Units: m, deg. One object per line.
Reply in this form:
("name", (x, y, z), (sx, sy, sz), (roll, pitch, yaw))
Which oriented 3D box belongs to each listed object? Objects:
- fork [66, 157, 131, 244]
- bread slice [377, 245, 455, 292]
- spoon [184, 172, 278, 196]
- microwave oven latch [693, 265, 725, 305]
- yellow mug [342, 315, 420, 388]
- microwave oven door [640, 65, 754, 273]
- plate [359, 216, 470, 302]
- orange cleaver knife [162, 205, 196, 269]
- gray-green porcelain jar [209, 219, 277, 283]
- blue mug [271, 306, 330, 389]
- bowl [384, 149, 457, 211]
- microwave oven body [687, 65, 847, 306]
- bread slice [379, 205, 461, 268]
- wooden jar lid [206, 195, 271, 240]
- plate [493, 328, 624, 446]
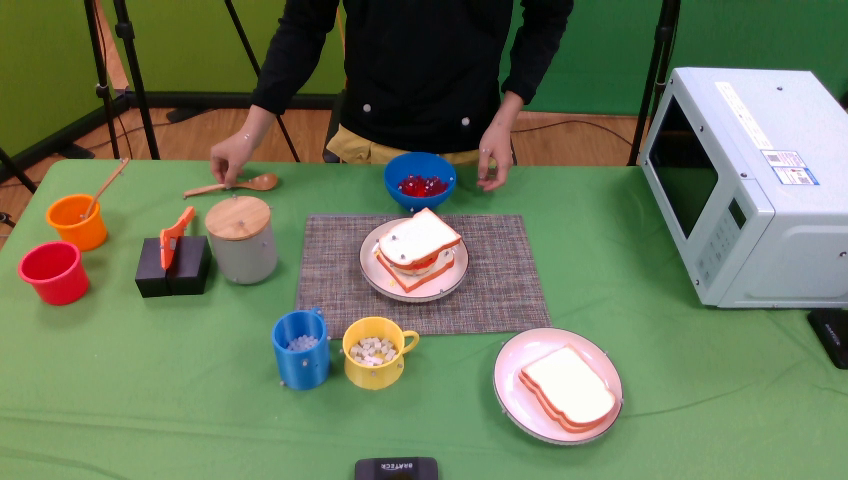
("fork", (-0.608, -0.074, 1.132), (0.207, 0.019, 0.028), (-52, 48, 10))
("bread slice", (-0.009, 0.033, 1.149), (0.131, 0.019, 0.104), (-28, 55, -24))
("spoon", (-0.405, -0.116, 1.274), (0.194, 0.022, 0.041), (-8, 65, -11))
("microwave oven latch", (0.523, 0.082, 1.116), (0.030, 0.029, 0.078), (2, 46, -1))
("yellow mug", (-0.068, 0.177, 0.990), (0.131, 0.064, 0.099), (-16, 50, -19))
("microwave oven door", (0.523, -0.147, 1.193), (0.039, 0.245, 0.353), (0, 47, -3))
("plate", (-0.019, 0.038, 1.140), (0.209, 0.038, 0.208), (2, 46, -2))
("orange cleaver knife", (-0.454, -0.010, 1.129), (0.012, 0.077, 0.210), (-2, 20, -5))
("gray-green porcelain jar", (-0.323, 0.007, 1.092), (0.106, 0.127, 0.105), (2, 46, -2))
("blue mug", (-0.188, 0.163, 0.969), (0.082, 0.106, 0.116), (15, 47, 10))
("bowl", (-0.009, -0.112, 1.262), (0.151, 0.077, 0.150), (2, 46, -2))
("microwave oven body", (0.669, -0.111, 1.176), (0.326, 0.261, 0.439), (0, 46, -3))
("bread slice", (-0.013, -0.002, 1.097), (0.134, 0.018, 0.106), (-34, 50, -22))
("wooden jar lid", (-0.319, -0.036, 1.046), (0.108, 0.021, 0.107), (1, 44, 0))
("plate", (0.213, 0.236, 0.974), (0.208, 0.039, 0.206), (2, 46, -2))
